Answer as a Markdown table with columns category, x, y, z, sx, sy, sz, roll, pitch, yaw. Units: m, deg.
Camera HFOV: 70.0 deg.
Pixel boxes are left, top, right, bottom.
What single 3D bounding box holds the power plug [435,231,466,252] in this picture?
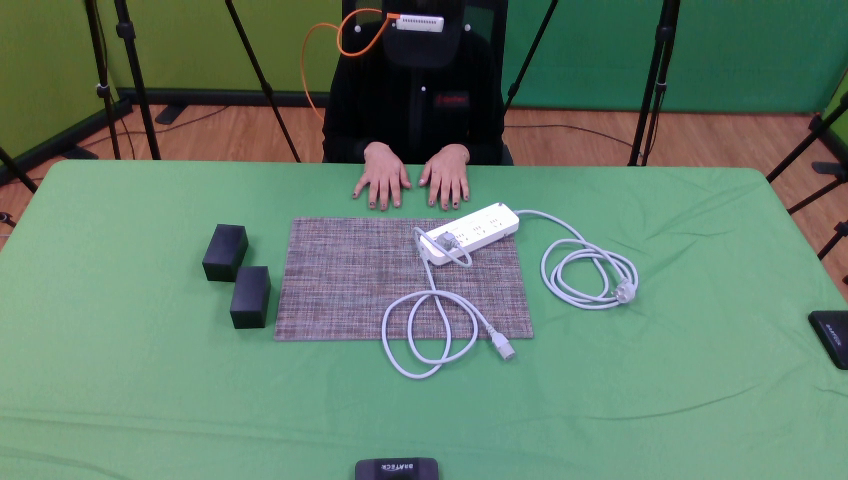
| category | x | y | z | sx | sy | sz | roll | pitch | yaw |
| --- | --- | --- | --- | --- | --- | --- | --- | --- | --- |
| power plug | 0.047 | 0.015 | 1.142 | 0.035 | 0.053 | 0.072 | -14 | 47 | -17 |

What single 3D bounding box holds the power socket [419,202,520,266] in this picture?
| category | x | y | z | sx | sy | sz | roll | pitch | yaw |
| --- | --- | --- | --- | --- | --- | --- | --- | --- | --- |
| power socket | 0.093 | -0.014 | 1.204 | 0.227 | 0.033 | 0.072 | -22 | 52 | -24 |
